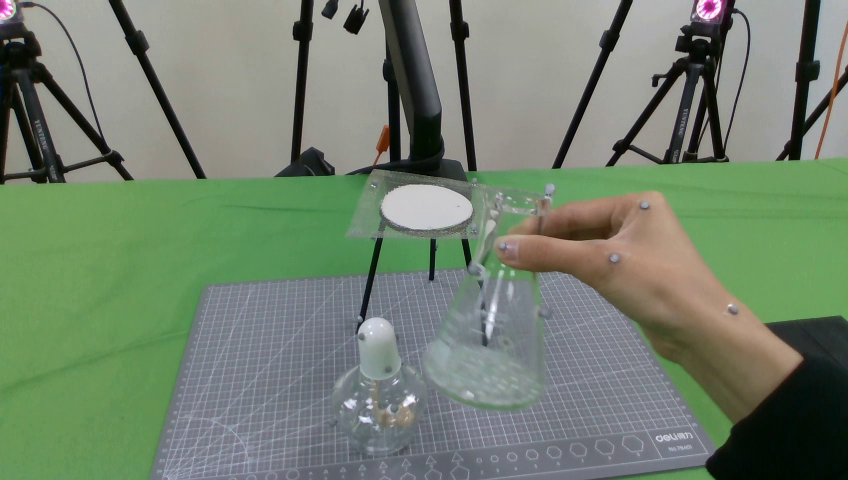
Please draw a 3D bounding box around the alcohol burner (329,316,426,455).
[{"bbox_3d":[-0.037,0.110,0.477,0.078,0.120,0.077,1,30,0],"label":"alcohol burner"}]

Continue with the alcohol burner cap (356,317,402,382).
[{"bbox_3d":[-0.035,0.080,0.457,0.034,0.048,0.033,-4,35,3],"label":"alcohol burner cap"}]

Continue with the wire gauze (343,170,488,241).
[{"bbox_3d":[-0.002,-0.032,0.562,0.121,0.011,0.124,5,33,4],"label":"wire gauze"}]

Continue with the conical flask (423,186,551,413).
[{"bbox_3d":[0.043,0.031,0.352,0.075,0.122,0.075,8,14,-2],"label":"conical flask"}]

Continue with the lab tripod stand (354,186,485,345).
[{"bbox_3d":[0.003,0.025,0.597,0.148,0.132,0.147,3,31,-2],"label":"lab tripod stand"}]
